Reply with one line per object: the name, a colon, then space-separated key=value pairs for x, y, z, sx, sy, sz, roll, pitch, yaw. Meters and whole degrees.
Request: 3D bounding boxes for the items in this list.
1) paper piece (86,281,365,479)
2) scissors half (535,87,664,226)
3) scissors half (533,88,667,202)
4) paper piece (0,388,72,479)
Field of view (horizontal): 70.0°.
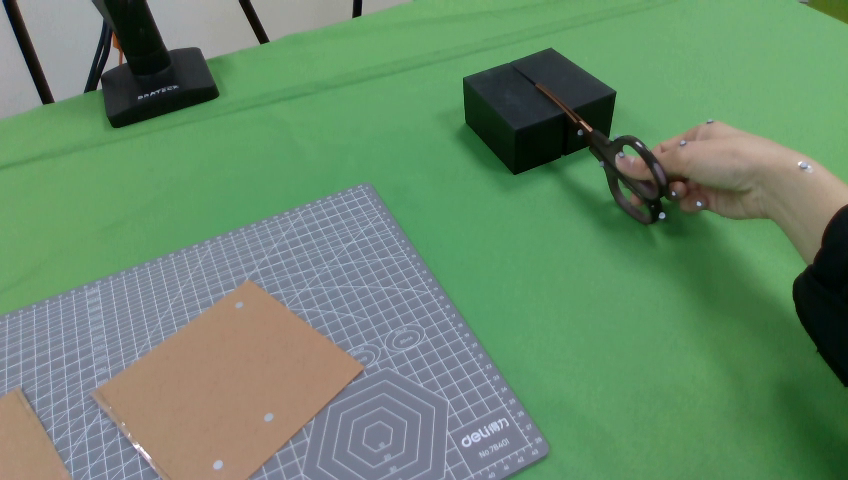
paper piece: x=-0.135 y=0.098 z=0.417 sx=0.135 sy=0.009 sz=0.138 roll=33 pitch=56 yaw=28
scissors half: x=0.143 y=-0.076 z=0.520 sx=0.013 sy=0.040 sz=0.173 roll=-27 pitch=62 yaw=-10
scissors half: x=0.139 y=-0.088 z=0.504 sx=0.013 sy=0.040 sz=0.173 roll=-30 pitch=45 yaw=-6
paper piece: x=-0.287 y=0.170 z=0.362 sx=0.135 sy=0.004 sz=0.134 roll=-36 pitch=51 yaw=-27
